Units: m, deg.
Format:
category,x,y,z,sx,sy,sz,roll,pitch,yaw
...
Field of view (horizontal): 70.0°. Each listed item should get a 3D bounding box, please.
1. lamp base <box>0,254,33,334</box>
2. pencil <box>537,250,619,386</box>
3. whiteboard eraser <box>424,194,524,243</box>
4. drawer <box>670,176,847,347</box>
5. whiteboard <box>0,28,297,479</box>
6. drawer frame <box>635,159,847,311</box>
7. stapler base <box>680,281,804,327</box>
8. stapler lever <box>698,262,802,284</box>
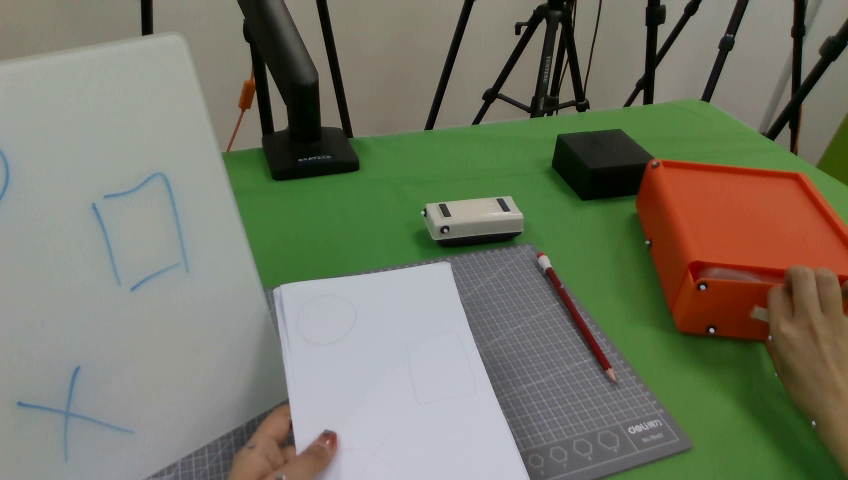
category,x,y,z,sx,sy,sz,roll,pitch,yaw
lamp base,-0.466,-0.002,0.524,0.178,0.182,0.160,14,38,18
pencil,0.156,0.074,0.623,0.012,0.012,0.192,-6,40,-12
whiteboard eraser,0.059,-0.024,0.725,0.113,0.042,0.055,-5,38,-12
drawer,0.362,0.014,0.667,0.194,0.074,0.210,5,36,4
whiteboard,-0.258,0.020,0.458,0.217,0.307,0.142,-25,26,-32
drawer frame,0.364,-0.002,0.688,0.201,0.083,0.211,5,36,2
stapler base,0.335,0.061,0.632,0.131,0.024,0.041,10,41,-7
stapler lever,0.340,0.045,0.620,0.118,0.040,0.026,6,41,-4
